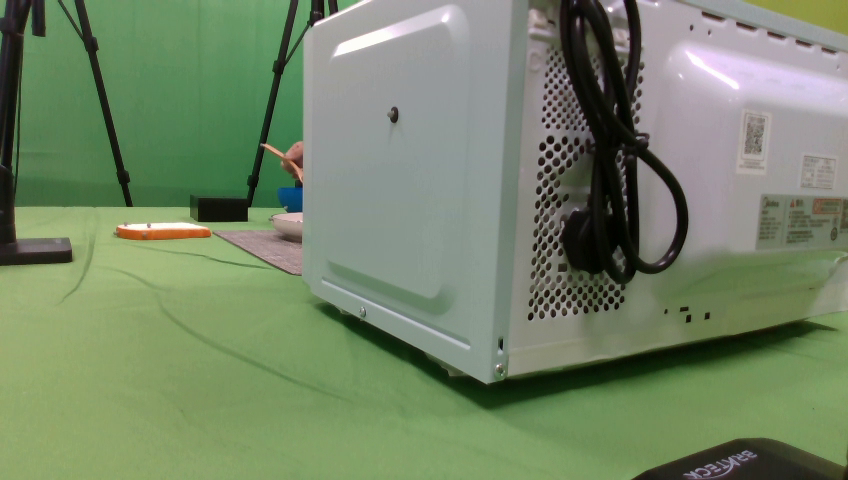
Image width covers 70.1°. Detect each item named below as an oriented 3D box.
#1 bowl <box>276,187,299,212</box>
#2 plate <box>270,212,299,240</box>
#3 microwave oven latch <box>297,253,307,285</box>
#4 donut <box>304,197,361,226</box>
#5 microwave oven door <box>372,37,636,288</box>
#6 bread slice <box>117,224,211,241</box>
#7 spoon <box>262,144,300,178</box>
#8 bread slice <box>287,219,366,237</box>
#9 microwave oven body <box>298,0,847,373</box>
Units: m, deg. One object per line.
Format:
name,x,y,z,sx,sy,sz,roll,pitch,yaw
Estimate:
bowl,-0.241,-0.073,1.302,0.151,0.077,0.151,2,7,0
plate,-0.162,-0.022,1.058,0.208,0.039,0.207,2,7,0
microwave oven latch,-0.082,0.027,0.582,0.079,0.029,0.030,-1,7,-32
donut,-0.159,-0.050,1.055,0.099,0.048,0.099,3,8,0
microwave oven door,0.109,-0.080,0.686,0.358,0.243,0.039,-2,9,-33
bread slice,-0.443,-0.015,1.022,0.132,0.019,0.104,-3,8,-45
spoon,-0.285,-0.162,1.295,0.193,0.021,0.042,40,34,26
bread slice,-0.170,-0.022,1.056,0.134,0.018,0.107,2,7,-6
microwave oven body,0.151,-0.055,0.542,0.444,0.260,0.324,-2,7,-33
